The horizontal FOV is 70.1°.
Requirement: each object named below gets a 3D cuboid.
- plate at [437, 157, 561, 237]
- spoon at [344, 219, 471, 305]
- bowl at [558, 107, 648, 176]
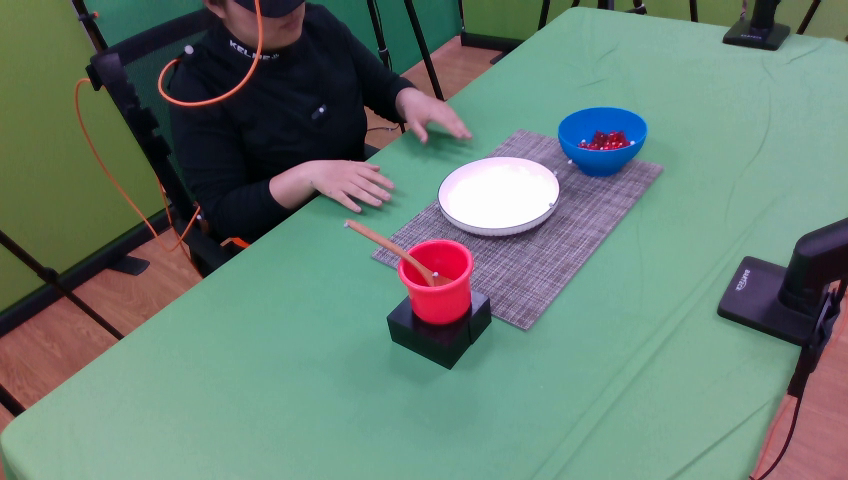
[{"bbox_3d":[0.127,-0.070,1.023,0.207,0.039,0.206,-5,40,5],"label":"plate"},{"bbox_3d":[-0.020,0.026,0.781,0.194,0.021,0.041,37,43,-14],"label":"spoon"},{"bbox_3d":[0.313,-0.165,1.069,0.151,0.077,0.150,-5,40,5],"label":"bowl"}]
